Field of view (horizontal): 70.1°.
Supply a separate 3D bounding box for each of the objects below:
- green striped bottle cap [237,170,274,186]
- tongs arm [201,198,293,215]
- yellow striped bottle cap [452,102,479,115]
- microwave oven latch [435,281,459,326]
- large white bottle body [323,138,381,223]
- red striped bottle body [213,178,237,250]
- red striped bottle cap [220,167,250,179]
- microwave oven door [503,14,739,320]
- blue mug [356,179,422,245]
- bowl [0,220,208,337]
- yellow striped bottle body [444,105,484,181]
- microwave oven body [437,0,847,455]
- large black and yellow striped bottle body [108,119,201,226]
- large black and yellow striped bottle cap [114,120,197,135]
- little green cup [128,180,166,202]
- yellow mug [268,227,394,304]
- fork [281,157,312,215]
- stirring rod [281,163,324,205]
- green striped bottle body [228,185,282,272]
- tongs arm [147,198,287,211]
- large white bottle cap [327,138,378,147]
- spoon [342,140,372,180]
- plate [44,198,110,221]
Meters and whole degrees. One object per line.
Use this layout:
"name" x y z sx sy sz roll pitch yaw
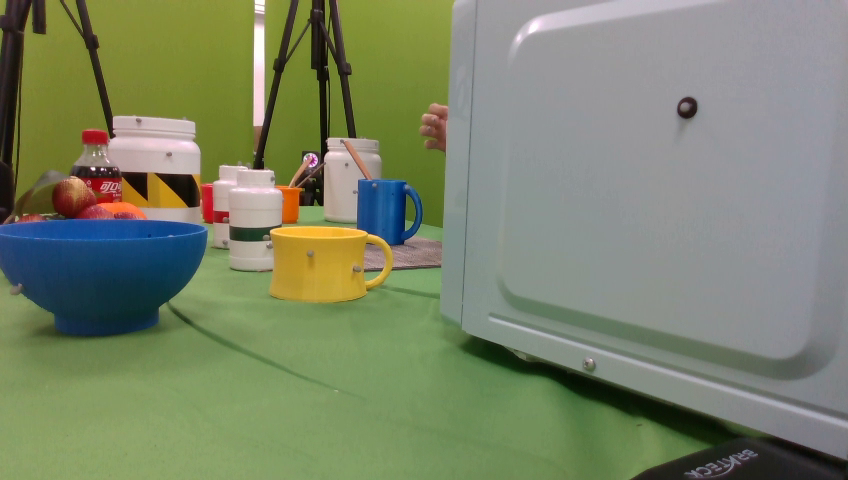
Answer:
"green striped bottle cap" -0.205 -0.075 0.737 0.044 0.020 0.044 2 6 0
"tongs arm" -0.423 -0.084 1.472 0.050 0.026 0.386 2 6 21
"yellow striped bottle cap" 0.066 -0.209 0.963 0.044 0.018 0.044 0 8 0
"microwave oven latch" 0.044 0.045 0.470 0.079 0.029 0.030 -3 8 -39
"large white bottle body" -0.163 -0.135 1.368 0.131 0.184 0.130 2 7 0
"red striped bottle body" -0.284 -0.048 0.909 0.063 0.119 0.063 3 10 0
"red striped bottle cap" -0.281 -0.100 0.901 0.044 0.017 0.044 -1 5 0
"microwave oven door" 0.217 -0.065 0.601 0.358 0.243 0.039 -4 10 -41
"blue mug" -0.057 -0.047 1.006 0.116 0.106 0.082 5 8 21
"bowl" -0.251 0.029 0.479 0.151 0.077 0.151 2 7 0
"yellow striped bottle body" 0.064 -0.155 0.970 0.063 0.120 0.063 0 8 0
"microwave oven body" 0.279 -0.040 0.464 0.444 0.260 0.324 -3 9 -41
"large black and yellow striped bottle body" -0.412 -0.088 0.930 0.131 0.184 0.130 3 7 0
"large black and yellow striped bottle cap" -0.407 -0.171 0.920 0.115 0.019 0.115 2 9 0
"little green cup" -0.485 -0.087 1.062 0.061 0.038 0.061 -1 6 0
"yellow mug" -0.094 0.023 0.630 0.131 0.064 0.099 0 8 -22
"fork" -0.289 -0.116 1.321 0.028 0.019 0.207 6 51 19
"stirring rod" -0.278 -0.105 1.293 0.176 0.006 0.014 -47 24 -18
"green striped bottle body" -0.208 -0.024 0.745 0.063 0.119 0.063 2 7 0
"tongs arm" -0.504 -0.091 1.513 0.028 0.028 0.389 0 4 37
"large white bottle cap" -0.160 -0.218 1.357 0.115 0.018 0.115 2 8 0
"spoon" -0.093 -0.094 1.024 0.042 0.193 0.021 -8 -23 -50
"plate" -0.617 -0.056 1.179 0.209 0.038 0.209 3 7 0
